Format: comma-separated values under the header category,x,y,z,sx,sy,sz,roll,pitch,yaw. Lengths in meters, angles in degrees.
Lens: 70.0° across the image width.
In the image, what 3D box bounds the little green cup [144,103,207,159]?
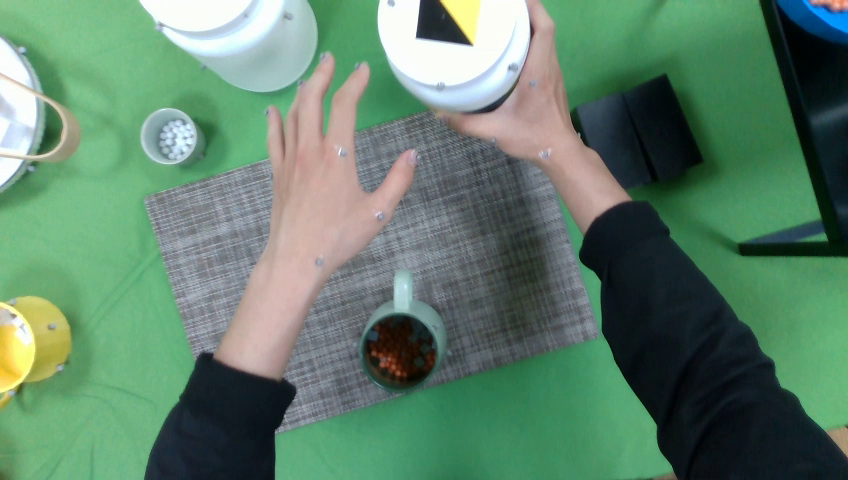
category,x,y,z,sx,sy,sz,roll,pitch,yaw
little green cup,-0.276,-0.119,0.679,0.061,0.038,0.061,0,92,1

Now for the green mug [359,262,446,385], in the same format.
category,x,y,z,sx,sy,sz,roll,pitch,yaw
green mug,-0.023,0.086,0.639,0.092,0.105,0.125,0,90,2

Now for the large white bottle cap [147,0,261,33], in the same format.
category,x,y,z,sx,sy,sz,roll,pitch,yaw
large white bottle cap,-0.190,-0.237,0.517,0.115,0.018,0.115,0,92,2

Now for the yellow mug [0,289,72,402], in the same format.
category,x,y,z,sx,sy,sz,roll,pitch,yaw
yellow mug,-0.464,0.122,0.674,0.100,0.064,0.131,16,92,1

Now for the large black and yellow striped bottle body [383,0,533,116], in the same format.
category,x,y,z,sx,sy,sz,roll,pitch,yaw
large black and yellow striped bottle body,0.036,-0.197,0.580,0.130,0.184,0.131,1,93,12

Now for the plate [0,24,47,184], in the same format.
category,x,y,z,sx,sy,sz,roll,pitch,yaw
plate,-0.525,-0.153,0.685,0.207,0.039,0.207,0,91,1

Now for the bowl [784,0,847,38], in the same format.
category,x,y,z,sx,sy,sz,roll,pitch,yaw
bowl,0.329,-0.219,0.462,0.151,0.077,0.151,0,91,1

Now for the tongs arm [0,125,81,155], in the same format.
category,x,y,z,sx,sy,sz,roll,pitch,yaw
tongs arm,-0.565,-0.136,0.655,0.384,0.026,0.050,12,88,3

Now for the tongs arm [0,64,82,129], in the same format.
category,x,y,z,sx,sy,sz,roll,pitch,yaw
tongs arm,-0.540,-0.216,0.655,0.387,0.028,0.028,26,85,3

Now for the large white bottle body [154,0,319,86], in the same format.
category,x,y,z,sx,sy,sz,roll,pitch,yaw
large white bottle body,-0.186,-0.238,0.601,0.130,0.184,0.130,0,90,2

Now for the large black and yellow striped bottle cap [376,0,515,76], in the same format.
category,x,y,z,sx,sy,sz,roll,pitch,yaw
large black and yellow striped bottle cap,0.017,-0.195,0.498,0.115,0.019,0.115,0,93,10
